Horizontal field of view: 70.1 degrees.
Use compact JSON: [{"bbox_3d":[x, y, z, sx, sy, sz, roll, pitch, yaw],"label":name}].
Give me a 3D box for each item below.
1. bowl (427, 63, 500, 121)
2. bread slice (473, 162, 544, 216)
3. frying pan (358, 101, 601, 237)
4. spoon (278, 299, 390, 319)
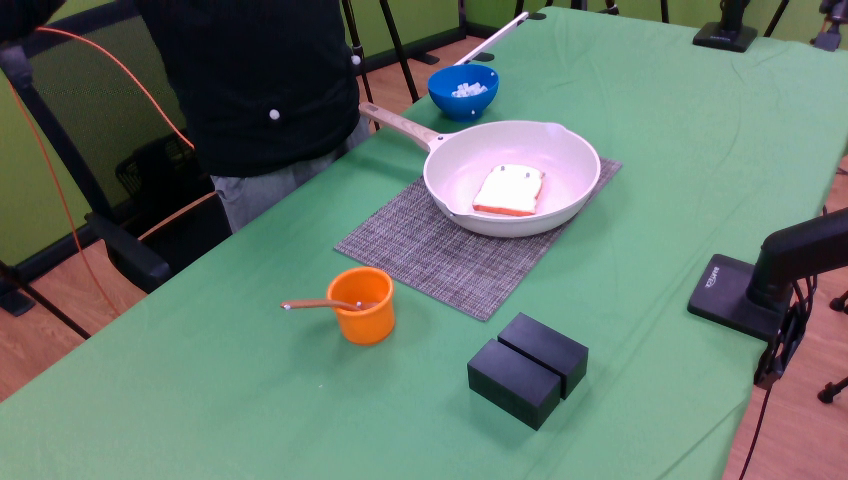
[{"bbox_3d":[0.083,-0.301,1.263,0.151,0.077,0.150,-4,41,4],"label":"bowl"},{"bbox_3d":[0.150,-0.089,1.041,0.106,0.018,0.134,7,44,16],"label":"bread slice"},{"bbox_3d":[0.067,-0.153,1.067,0.484,0.103,0.308,32,52,26],"label":"frying pan"},{"bbox_3d":[-0.113,0.086,0.787,0.041,0.195,0.021,30,98,36],"label":"spoon"}]
